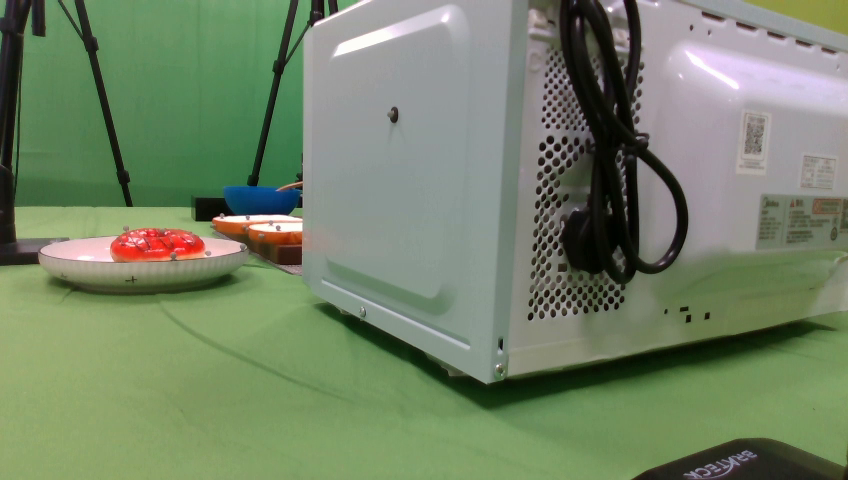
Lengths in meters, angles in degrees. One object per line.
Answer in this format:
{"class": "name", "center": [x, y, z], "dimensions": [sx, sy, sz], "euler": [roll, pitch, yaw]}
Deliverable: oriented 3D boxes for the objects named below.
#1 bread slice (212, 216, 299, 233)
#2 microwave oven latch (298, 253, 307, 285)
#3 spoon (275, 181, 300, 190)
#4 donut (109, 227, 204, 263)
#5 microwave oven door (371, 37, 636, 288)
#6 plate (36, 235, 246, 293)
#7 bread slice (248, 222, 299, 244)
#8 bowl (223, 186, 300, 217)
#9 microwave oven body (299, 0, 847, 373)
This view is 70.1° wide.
{"class": "bread slice", "center": [-0.256, -0.025, 0.936], "dimensions": [0.132, 0.019, 0.104], "euler": [-4, 8, -40]}
{"class": "microwave oven latch", "center": [-0.081, 0.027, 0.582], "dimensions": [0.079, 0.029, 0.030], "euler": [-1, 7, -32]}
{"class": "spoon", "center": [-0.301, -0.102, 1.260], "dimensions": [0.041, 0.021, 0.194], "euler": [13, 30, 33]}
{"class": "donut", "center": [-0.298, 0.013, 0.679], "dimensions": [0.099, 0.048, 0.099], "euler": [4, 10, 0]}
{"class": "microwave oven door", "center": [0.109, -0.080, 0.687], "dimensions": [0.358, 0.243, 0.039], "euler": [-2, 9, -33]}
{"class": "plate", "center": [-0.305, 0.026, 0.668], "dimensions": [0.208, 0.039, 0.207], "euler": [2, 7, 0]}
{"class": "bread slice", "center": [-0.174, -0.012, 0.844], "dimensions": [0.135, 0.018, 0.106], "euler": [-6, 10, -44]}
{"class": "bowl", "center": [-0.330, -0.068, 1.230], "dimensions": [0.151, 0.077, 0.151], "euler": [3, 7, 0]}
{"class": "microwave oven body", "center": [0.152, -0.055, 0.543], "dimensions": [0.444, 0.260, 0.324], "euler": [-2, 7, -33]}
